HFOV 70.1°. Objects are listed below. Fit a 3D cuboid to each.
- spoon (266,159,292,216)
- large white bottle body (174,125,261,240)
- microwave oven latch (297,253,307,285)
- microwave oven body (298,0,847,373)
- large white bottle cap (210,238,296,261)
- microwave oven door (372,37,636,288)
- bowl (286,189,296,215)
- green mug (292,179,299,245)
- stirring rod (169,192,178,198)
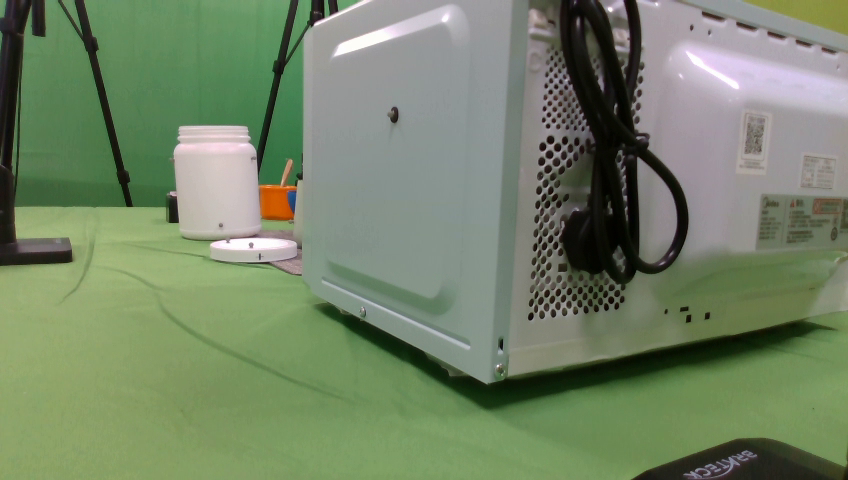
[{"bbox_3d":[-0.334,-0.127,1.424,0.041,0.193,0.022,0,-37,7],"label":"spoon"},{"bbox_3d":[-0.349,-0.100,1.025,0.131,0.184,0.130,-1,9,0],"label":"large white bottle body"},{"bbox_3d":[-0.082,0.027,0.582,0.079,0.029,0.030,-1,7,-32],"label":"microwave oven latch"},{"bbox_3d":[0.151,-0.055,0.543,0.444,0.260,0.324,-1,8,-33],"label":"microwave oven body"},{"bbox_3d":[-0.236,0.012,0.839,0.115,0.018,0.115,1,8,0],"label":"large white bottle cap"},{"bbox_3d":[0.110,-0.080,0.686,0.358,0.243,0.039,-2,9,-33],"label":"microwave oven door"},{"bbox_3d":[-0.179,-0.051,1.115,0.151,0.077,0.151,3,8,0],"label":"bowl"},{"bbox_3d":[-0.142,-0.041,0.942,0.126,0.105,0.092,-2,8,-32],"label":"green mug"},{"bbox_3d":[-0.465,-0.098,1.283,0.014,0.006,0.177,42,21,17],"label":"stirring rod"}]
